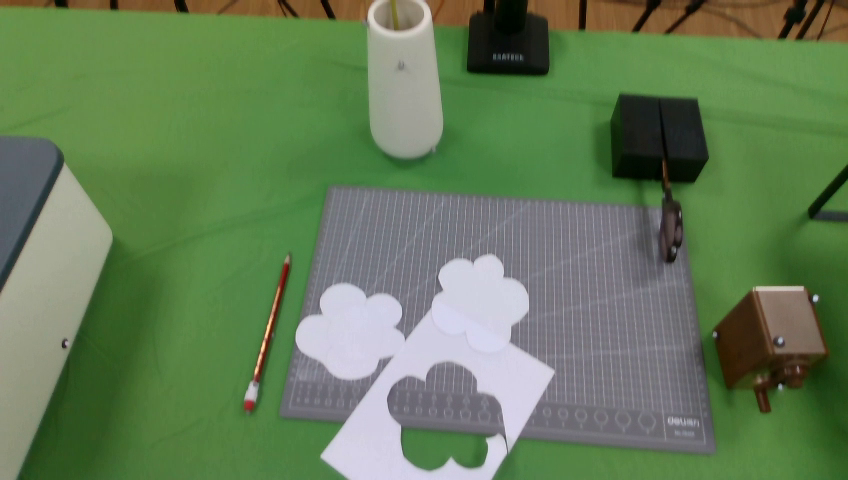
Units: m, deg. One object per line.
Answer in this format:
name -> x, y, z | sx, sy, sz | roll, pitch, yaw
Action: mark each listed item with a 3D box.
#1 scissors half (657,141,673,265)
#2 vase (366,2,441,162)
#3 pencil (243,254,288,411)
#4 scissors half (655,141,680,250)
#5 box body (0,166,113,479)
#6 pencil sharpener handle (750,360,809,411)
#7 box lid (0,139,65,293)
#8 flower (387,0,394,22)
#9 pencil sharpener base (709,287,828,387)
scissors half -> 0.291, -0.050, 0.743 | 0.013, 0.040, 0.174 | 2, 67, 10
vase -> -0.028, -0.189, 0.748 | 0.098, 0.202, 0.097 | -1, 58, 2
pencil -> -0.176, 0.098, 0.687 | 0.012, 0.012, 0.192 | 4, 57, 4
scissors half -> 0.289, -0.060, 0.726 | 0.013, 0.040, 0.173 | 5, 49, 6
box body -> -0.510, 0.087, 0.605 | 0.254, 0.162, 0.361 | 4, 59, 3
pencil sharpener handle -> 0.344, 0.142, 0.584 | 0.036, 0.068, 0.030 | 7, 58, -12
box lid -> -0.511, 0.045, 0.542 | 0.263, 0.015, 0.368 | 4, 59, 3
flower -> -0.035, -0.244, 0.683 | 0.044, 0.365, 0.038 | -3, 41, 3
pencil sharpener base -> 0.348, 0.105, 0.621 | 0.061, 0.108, 0.076 | 0, 59, 1
